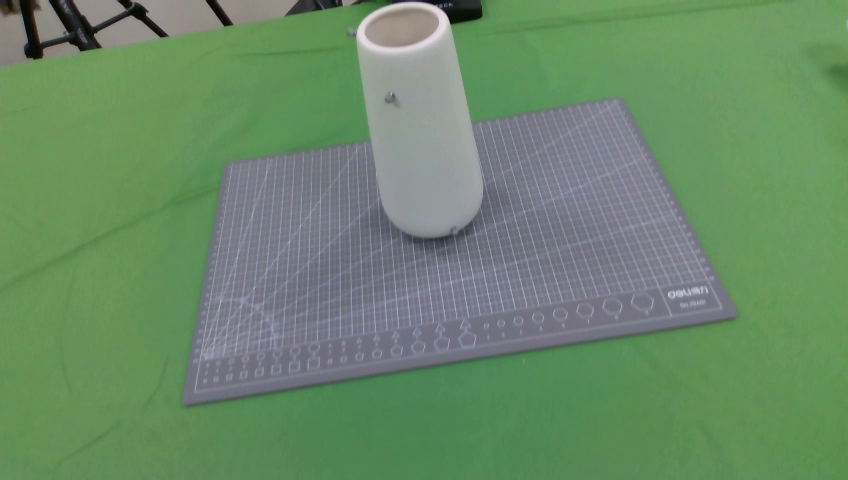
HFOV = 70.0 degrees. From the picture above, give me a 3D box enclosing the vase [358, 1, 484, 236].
[{"bbox_3d":[-0.002,-0.095,0.520,0.098,0.202,0.097,-5,48,6],"label":"vase"}]
